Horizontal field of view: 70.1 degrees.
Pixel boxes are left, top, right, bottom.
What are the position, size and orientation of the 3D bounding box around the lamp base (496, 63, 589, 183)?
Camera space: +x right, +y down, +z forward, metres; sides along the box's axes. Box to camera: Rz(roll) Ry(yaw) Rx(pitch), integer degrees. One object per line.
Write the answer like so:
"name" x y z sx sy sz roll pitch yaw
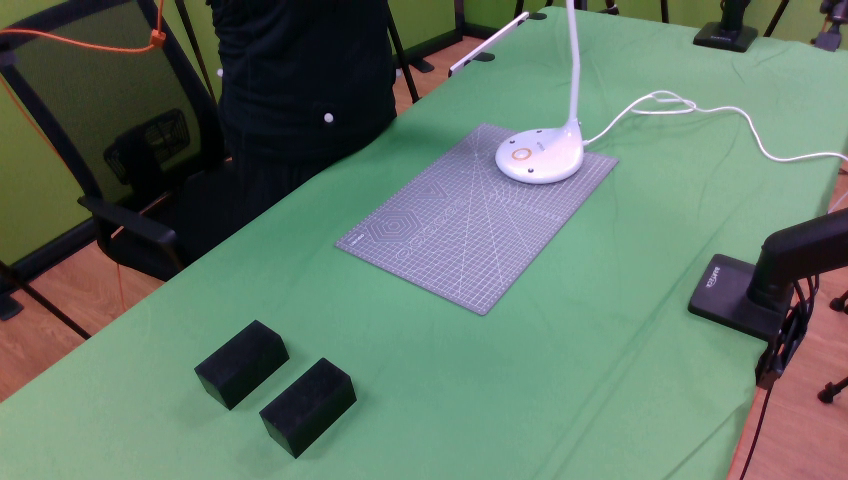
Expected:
"lamp base" 0.216 -0.217 1.066 0.180 0.181 0.159 -19 43 -18
